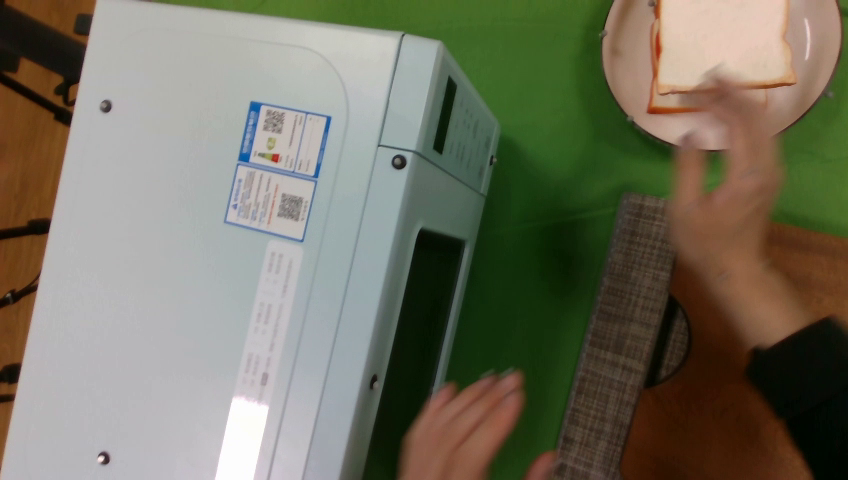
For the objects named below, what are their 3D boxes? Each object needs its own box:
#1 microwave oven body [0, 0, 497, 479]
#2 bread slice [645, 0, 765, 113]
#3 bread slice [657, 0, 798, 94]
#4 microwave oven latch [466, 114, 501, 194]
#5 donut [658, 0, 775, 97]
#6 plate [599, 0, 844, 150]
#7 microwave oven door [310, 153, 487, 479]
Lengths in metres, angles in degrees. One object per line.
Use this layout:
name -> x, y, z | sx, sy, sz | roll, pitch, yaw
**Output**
microwave oven body -> -0.147, 0.047, 0.574 | 0.324, 0.261, 0.441 | 13, 92, 17
bread slice -> 0.267, -0.189, 0.579 | 0.104, 0.019, 0.131 | 0, 88, 16
bread slice -> 0.253, -0.191, 0.521 | 0.106, 0.018, 0.134 | -3, 81, 18
microwave oven latch -> 0.058, -0.089, 0.619 | 0.030, 0.029, 0.079 | 14, 92, 17
donut -> 0.263, -0.180, 0.549 | 0.099, 0.048, 0.099 | 1, 94, 12
plate -> 0.274, -0.186, 0.576 | 0.207, 0.039, 0.207 | -1, 87, 17
microwave oven door -> -0.022, 0.118, 0.527 | 0.039, 0.245, 0.355 | 12, 91, 18
